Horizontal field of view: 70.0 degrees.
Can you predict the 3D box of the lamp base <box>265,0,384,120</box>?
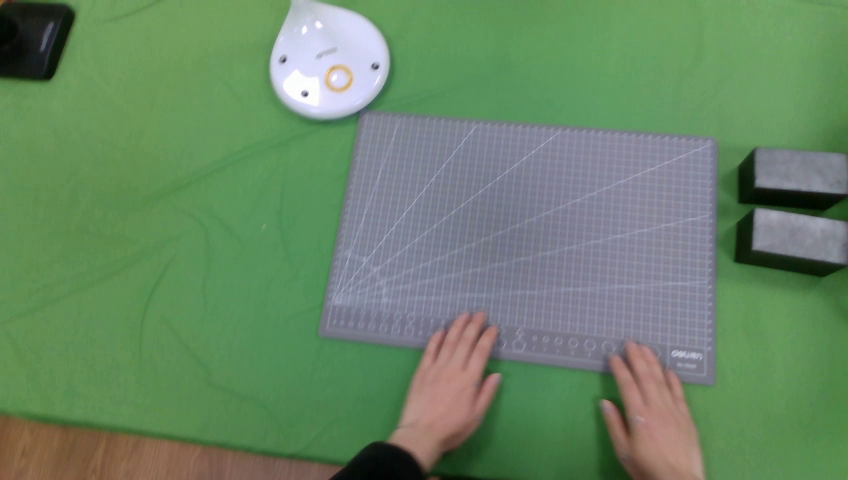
[{"bbox_3d":[-0.147,-0.266,0.740,0.160,0.181,0.178,-34,71,-6],"label":"lamp base"}]
